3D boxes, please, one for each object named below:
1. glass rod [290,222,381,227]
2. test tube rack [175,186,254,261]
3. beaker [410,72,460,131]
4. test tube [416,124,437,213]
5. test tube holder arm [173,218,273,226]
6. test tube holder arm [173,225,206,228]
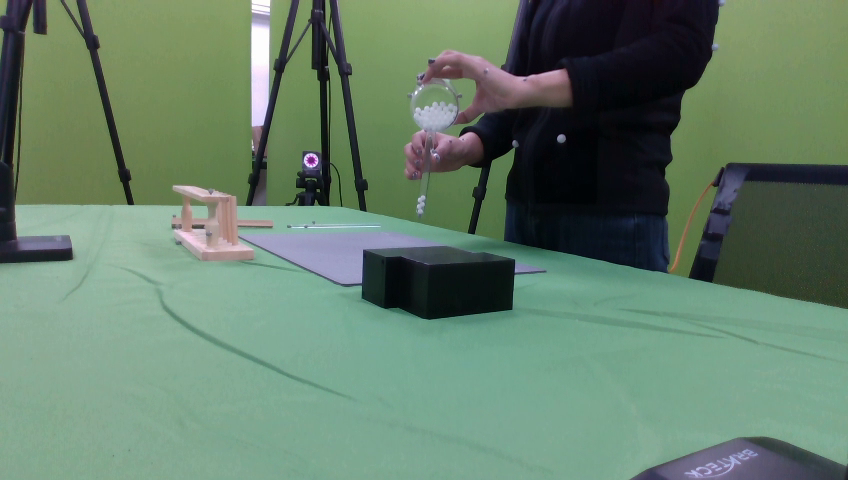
[{"bbox_3d":[-0.178,-0.033,1.247,0.201,0.008,0.008,-2,8,-30],"label":"glass rod"},{"bbox_3d":[-0.314,-0.031,0.889,0.067,0.085,0.241,-2,8,-30],"label":"test tube rack"},{"bbox_3d":[0.016,-0.201,0.889,0.074,0.084,0.100,5,20,-1],"label":"beaker"},{"bbox_3d":[0.004,-0.113,0.975,0.017,0.150,0.017,7,24,-3],"label":"test tube"},{"bbox_3d":[-0.371,-0.033,1.128,0.179,0.015,0.013,-1,-22,-26],"label":"test tube holder arm"},{"bbox_3d":[-0.415,-0.030,1.113,0.088,0.015,0.010,-1,-22,-25],"label":"test tube holder arm"}]
